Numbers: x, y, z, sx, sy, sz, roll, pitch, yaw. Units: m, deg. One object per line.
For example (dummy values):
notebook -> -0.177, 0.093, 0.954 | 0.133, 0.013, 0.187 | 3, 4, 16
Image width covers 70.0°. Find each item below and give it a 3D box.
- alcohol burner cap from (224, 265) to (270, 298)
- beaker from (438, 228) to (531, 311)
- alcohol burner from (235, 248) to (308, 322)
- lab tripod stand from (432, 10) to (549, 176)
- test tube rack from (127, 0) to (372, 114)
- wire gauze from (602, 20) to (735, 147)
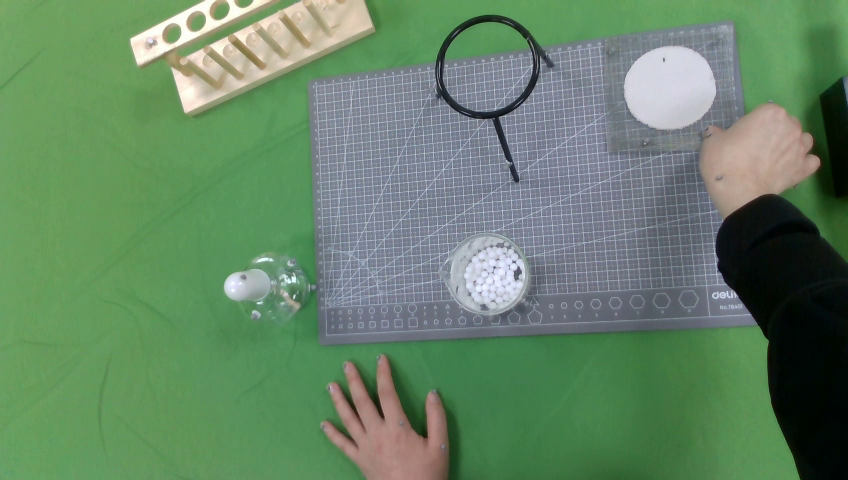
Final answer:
alcohol burner cap -> -0.175, 0.041, 0.589 | 0.034, 0.048, 0.034 | 0, 89, 11
beaker -> 0.063, 0.031, 0.580 | 0.084, 0.101, 0.074 | 2, 85, 13
alcohol burner -> -0.167, 0.045, 0.624 | 0.078, 0.119, 0.077 | -1, 83, 12
lab tripod stand -> 0.066, -0.143, 0.575 | 0.148, 0.132, 0.148 | -1, 86, 10
test tube rack -> -0.188, -0.227, 0.664 | 0.242, 0.085, 0.066 | -22, 81, 10
wire gauze -> 0.242, -0.153, 0.603 | 0.125, 0.011, 0.121 | -1, 88, 12
